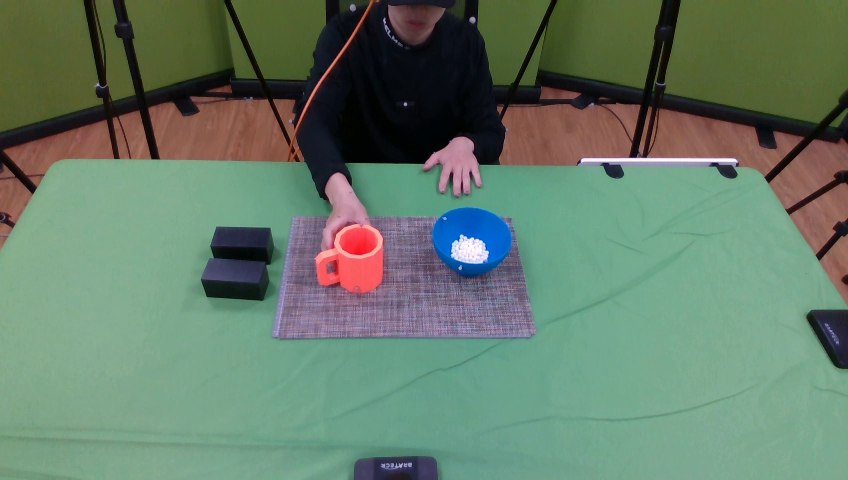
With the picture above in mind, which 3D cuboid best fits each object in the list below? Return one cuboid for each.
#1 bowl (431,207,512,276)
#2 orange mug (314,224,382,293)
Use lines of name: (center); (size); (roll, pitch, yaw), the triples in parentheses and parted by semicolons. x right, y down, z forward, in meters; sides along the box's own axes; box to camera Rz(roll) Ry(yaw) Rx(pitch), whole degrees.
bowl: (0.086, 0.016, 1.147); (0.151, 0.077, 0.150); (3, 46, -2)
orange mug: (-0.135, 0.038, 1.094); (0.126, 0.101, 0.083); (-14, 49, -23)
